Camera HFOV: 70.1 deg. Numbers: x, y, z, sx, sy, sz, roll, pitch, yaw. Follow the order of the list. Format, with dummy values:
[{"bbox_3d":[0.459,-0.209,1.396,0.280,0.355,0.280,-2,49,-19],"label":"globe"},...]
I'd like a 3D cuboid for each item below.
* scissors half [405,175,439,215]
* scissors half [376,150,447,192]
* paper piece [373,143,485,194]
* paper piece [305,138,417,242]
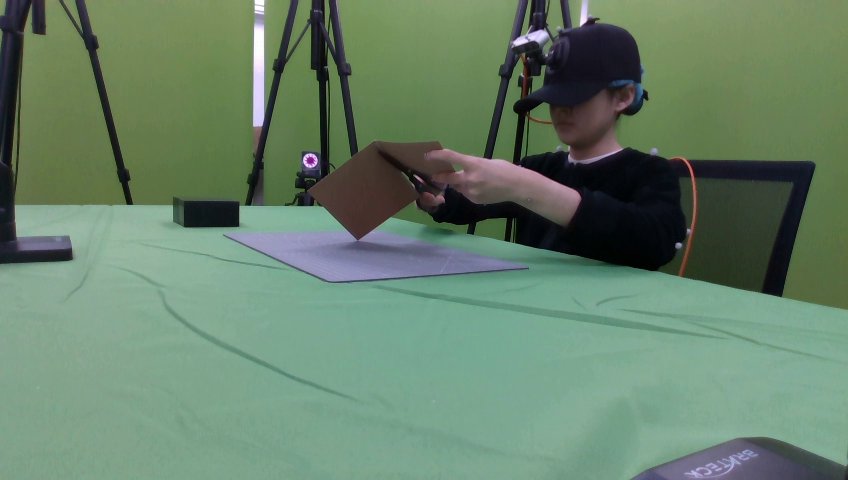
[{"bbox_3d":[-0.025,-0.098,0.993,0.013,0.040,0.176,13,-27,43],"label":"scissors half"},{"bbox_3d":[-0.015,-0.117,0.995,0.012,0.040,0.176,20,3,44],"label":"scissors half"},{"bbox_3d":[0.007,-0.109,0.925,0.135,0.004,0.136,12,-18,44],"label":"paper piece"},{"bbox_3d":[-0.097,-0.076,0.979,0.138,0.136,0.008,-36,35,7],"label":"paper piece"}]
